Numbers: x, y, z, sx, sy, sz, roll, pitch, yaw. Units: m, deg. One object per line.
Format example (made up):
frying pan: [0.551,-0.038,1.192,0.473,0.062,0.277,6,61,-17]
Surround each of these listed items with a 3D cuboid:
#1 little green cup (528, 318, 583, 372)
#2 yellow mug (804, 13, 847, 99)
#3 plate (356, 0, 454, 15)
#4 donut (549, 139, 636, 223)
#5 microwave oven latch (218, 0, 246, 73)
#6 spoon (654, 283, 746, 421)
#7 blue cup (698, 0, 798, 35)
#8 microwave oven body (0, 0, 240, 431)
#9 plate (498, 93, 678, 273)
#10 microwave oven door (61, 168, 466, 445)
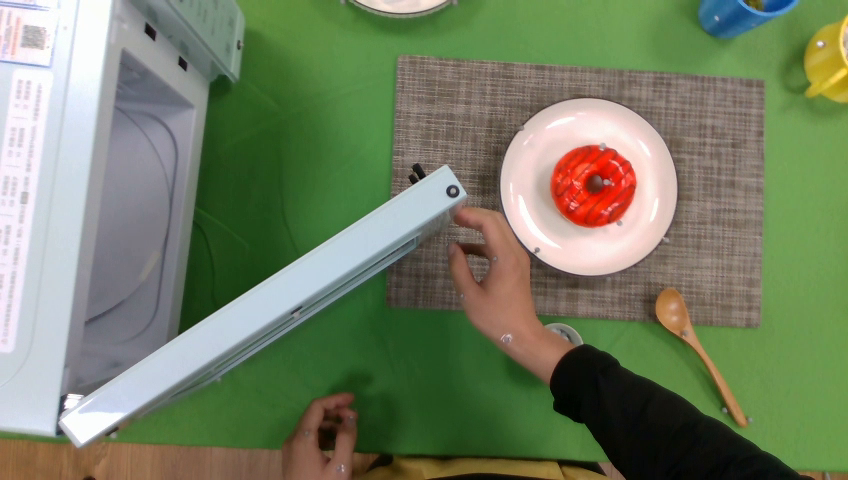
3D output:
little green cup: [0.149,0.120,0.703,0.061,0.038,0.061,0,85,-1]
yellow mug: [0.508,-0.216,0.716,0.131,0.064,0.100,-38,89,-2]
plate: [-0.023,-0.365,0.720,0.208,0.039,0.207,0,87,-2]
donut: [0.193,-0.068,0.698,0.099,0.048,0.099,0,88,1]
microwave oven latch: [-0.221,-0.234,0.688,0.030,0.029,0.079,8,88,-2]
spoon: [0.327,0.135,0.714,0.041,0.021,0.193,-34,90,-19]
blue cup: [0.368,-0.283,0.697,0.093,0.100,0.092,0,88,-2]
microwave oven body: [-0.386,-0.080,0.580,0.326,0.260,0.441,6,88,-2]
plate: [0.188,-0.066,0.709,0.209,0.038,0.209,0,88,-1]
microwave oven door: [-0.124,0.054,0.577,0.356,0.244,0.039,-34,87,-3]
